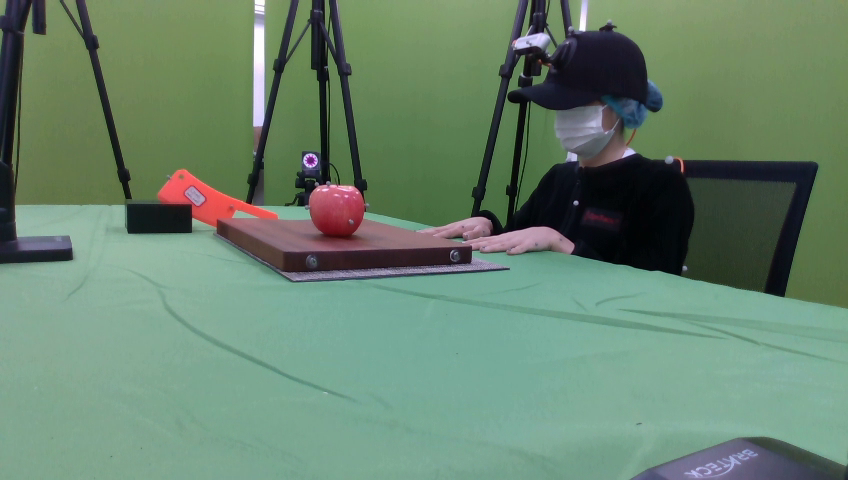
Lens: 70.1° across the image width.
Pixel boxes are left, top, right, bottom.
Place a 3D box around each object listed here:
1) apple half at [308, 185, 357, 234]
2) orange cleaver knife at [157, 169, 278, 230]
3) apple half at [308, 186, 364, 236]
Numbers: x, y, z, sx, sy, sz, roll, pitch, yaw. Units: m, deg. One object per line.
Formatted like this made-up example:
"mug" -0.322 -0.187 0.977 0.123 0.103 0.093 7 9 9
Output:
"apple half" -0.143 -0.047 0.907 0.082 0.081 0.032 -1 12 -31
"orange cleaver knife" -0.377 -0.061 1.116 0.212 0.077 0.012 25 -7 -28
"apple half" -0.123 -0.041 0.874 0.081 0.074 0.053 4 9 -31
